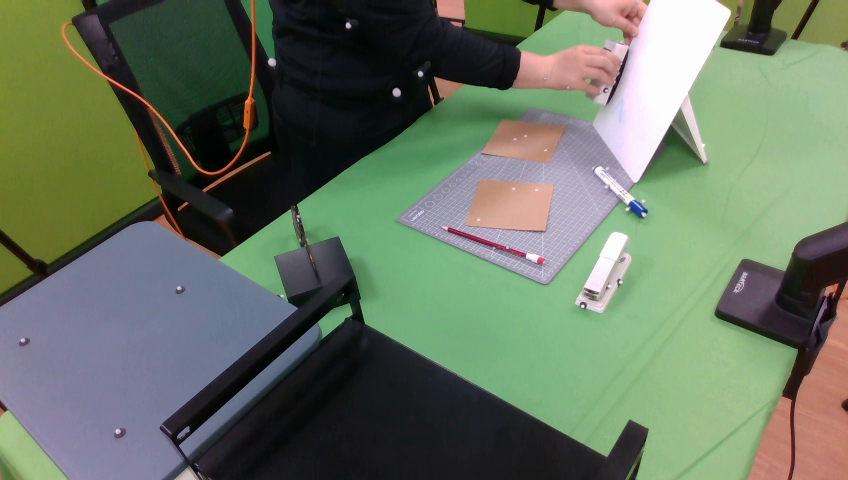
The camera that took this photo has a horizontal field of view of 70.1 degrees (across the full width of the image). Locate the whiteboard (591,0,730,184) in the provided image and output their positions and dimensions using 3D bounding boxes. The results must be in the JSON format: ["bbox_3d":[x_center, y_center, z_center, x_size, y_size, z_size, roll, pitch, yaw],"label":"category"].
[{"bbox_3d":[0.451,-0.270,1.055,0.144,0.305,0.216,7,37,-14],"label":"whiteboard"}]

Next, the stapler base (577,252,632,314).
[{"bbox_3d":[0.264,0.051,0.875,0.041,0.024,0.131,16,47,30],"label":"stapler base"}]

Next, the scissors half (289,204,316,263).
[{"bbox_3d":[-0.190,-0.011,0.944,0.013,0.040,0.173,-15,37,-17],"label":"scissors half"}]

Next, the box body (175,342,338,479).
[{"bbox_3d":[-0.311,0.165,0.719,0.361,0.161,0.255,23,49,32],"label":"box body"}]

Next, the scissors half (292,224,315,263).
[{"bbox_3d":[-0.187,0.007,0.954,0.013,0.040,0.174,-20,21,-14],"label":"scissors half"}]

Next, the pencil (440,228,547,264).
[{"bbox_3d":[0.105,0.006,0.957,0.192,0.012,0.012,18,47,30],"label":"pencil"}]

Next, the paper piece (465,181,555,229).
[{"bbox_3d":[0.149,-0.062,1.034,0.137,0.009,0.136,4,37,17],"label":"paper piece"}]

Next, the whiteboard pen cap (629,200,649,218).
[{"bbox_3d":[0.348,-0.051,0.983,0.018,0.018,0.033,-18,41,-12],"label":"whiteboard pen cap"}]

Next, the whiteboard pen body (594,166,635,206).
[{"bbox_3d":[0.331,-0.085,1.027,0.017,0.017,0.139,-17,43,-11],"label":"whiteboard pen body"}]

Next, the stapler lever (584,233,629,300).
[{"bbox_3d":[0.261,0.034,0.858,0.026,0.040,0.118,16,45,30],"label":"stapler lever"}]

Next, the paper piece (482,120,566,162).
[{"bbox_3d":[0.197,-0.198,1.188,0.135,0.004,0.135,11,44,22],"label":"paper piece"}]

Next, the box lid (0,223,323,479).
[{"bbox_3d":[-0.318,0.109,0.671,0.368,0.015,0.264,24,49,32],"label":"box lid"}]

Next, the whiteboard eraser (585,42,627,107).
[{"bbox_3d":[0.345,-0.311,1.139,0.042,0.113,0.055,8,27,-14],"label":"whiteboard eraser"}]
